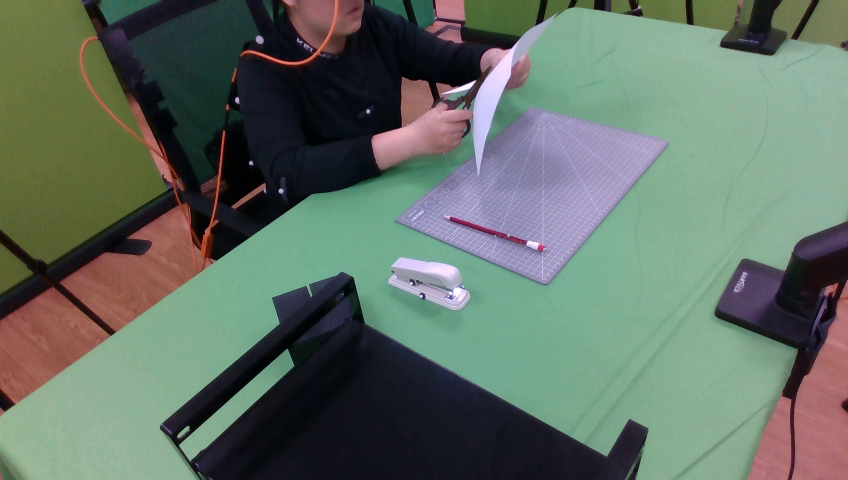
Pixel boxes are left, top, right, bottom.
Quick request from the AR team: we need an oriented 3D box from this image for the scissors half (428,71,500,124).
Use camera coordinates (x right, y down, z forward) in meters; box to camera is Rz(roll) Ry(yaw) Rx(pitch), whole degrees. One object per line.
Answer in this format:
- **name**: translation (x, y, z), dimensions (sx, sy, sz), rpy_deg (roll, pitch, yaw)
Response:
- **scissors half**: translation (0.071, -0.261, 1.099), dimensions (0.174, 0.040, 0.013), rpy_deg (-23, 16, 39)

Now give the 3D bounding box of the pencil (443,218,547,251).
- **pencil**: translation (0.110, -0.012, 0.980), dimensions (0.192, 0.012, 0.012), rpy_deg (18, 46, 30)

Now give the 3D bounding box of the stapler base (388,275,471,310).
- **stapler base**: translation (0.007, 0.066, 0.897), dimensions (0.129, 0.024, 0.041), rpy_deg (17, 44, 29)

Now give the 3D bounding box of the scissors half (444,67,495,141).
- **scissors half**: translation (0.086, -0.245, 1.101), dimensions (0.040, 0.175, 0.013), rpy_deg (33, 43, 1)

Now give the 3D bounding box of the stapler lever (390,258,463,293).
- **stapler lever**: translation (0.003, 0.046, 0.881), dimensions (0.117, 0.040, 0.027), rpy_deg (17, 44, 29)
